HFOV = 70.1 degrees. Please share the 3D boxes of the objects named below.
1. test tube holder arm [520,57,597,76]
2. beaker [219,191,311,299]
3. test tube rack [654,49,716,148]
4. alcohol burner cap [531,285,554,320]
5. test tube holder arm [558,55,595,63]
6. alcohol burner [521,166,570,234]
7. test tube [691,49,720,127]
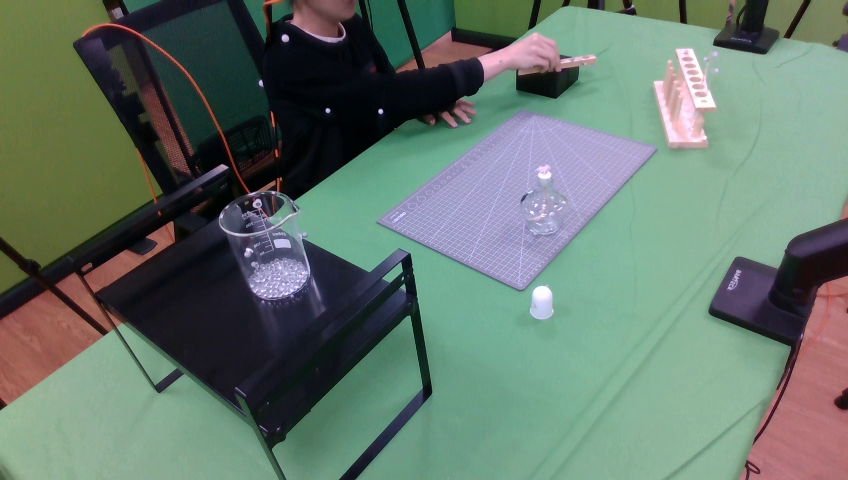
[{"bbox_3d":[0.287,-0.370,1.286,0.179,0.015,0.013,-14,38,-14],"label":"test tube holder arm"},{"bbox_3d":[-0.164,0.008,0.654,0.084,0.101,0.073,-10,41,-3],"label":"beaker"},{"bbox_3d":[0.502,-0.281,1.176,0.066,0.085,0.241,2,41,11],"label":"test tube rack"},{"bbox_3d":[0.164,0.084,0.838,0.034,0.048,0.033,-4,40,4],"label":"alcohol burner cap"},{"bbox_3d":[0.328,-0.384,1.301,0.088,0.015,0.010,-14,38,-14],"label":"test tube holder arm"},{"bbox_3d":[0.192,-0.068,0.951,0.078,0.119,0.077,-4,42,4],"label":"alcohol burner"},{"bbox_3d":[0.505,-0.270,1.087,0.017,0.151,0.017,-2,41,2],"label":"test tube"}]
